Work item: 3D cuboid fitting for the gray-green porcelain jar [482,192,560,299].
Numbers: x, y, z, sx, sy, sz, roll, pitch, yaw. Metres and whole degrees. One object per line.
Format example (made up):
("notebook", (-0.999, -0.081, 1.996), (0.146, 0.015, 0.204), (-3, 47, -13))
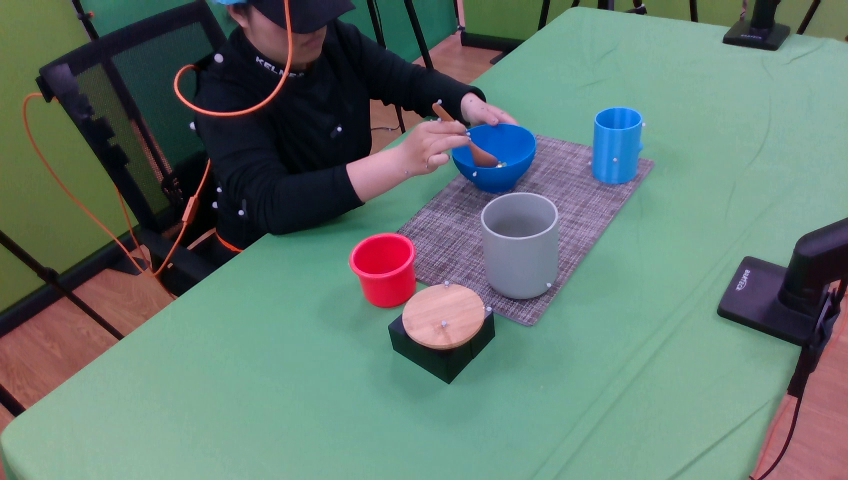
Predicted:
("gray-green porcelain jar", (0.139, 0.012, 0.858), (0.106, 0.127, 0.105), (-6, 40, 5))

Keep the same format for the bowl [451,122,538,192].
("bowl", (0.127, -0.138, 1.077), (0.151, 0.077, 0.150), (-5, 40, 5))

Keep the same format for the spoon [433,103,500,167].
("spoon", (0.068, -0.166, 0.991), (0.041, 0.195, 0.021), (-22, 50, 28))

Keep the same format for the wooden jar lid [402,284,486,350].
("wooden jar lid", (0.027, 0.101, 0.786), (0.108, 0.021, 0.108), (-5, 39, 4))

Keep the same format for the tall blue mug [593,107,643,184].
("tall blue mug", (0.330, -0.172, 1.052), (0.078, 0.108, 0.106), (-12, 40, 0))
